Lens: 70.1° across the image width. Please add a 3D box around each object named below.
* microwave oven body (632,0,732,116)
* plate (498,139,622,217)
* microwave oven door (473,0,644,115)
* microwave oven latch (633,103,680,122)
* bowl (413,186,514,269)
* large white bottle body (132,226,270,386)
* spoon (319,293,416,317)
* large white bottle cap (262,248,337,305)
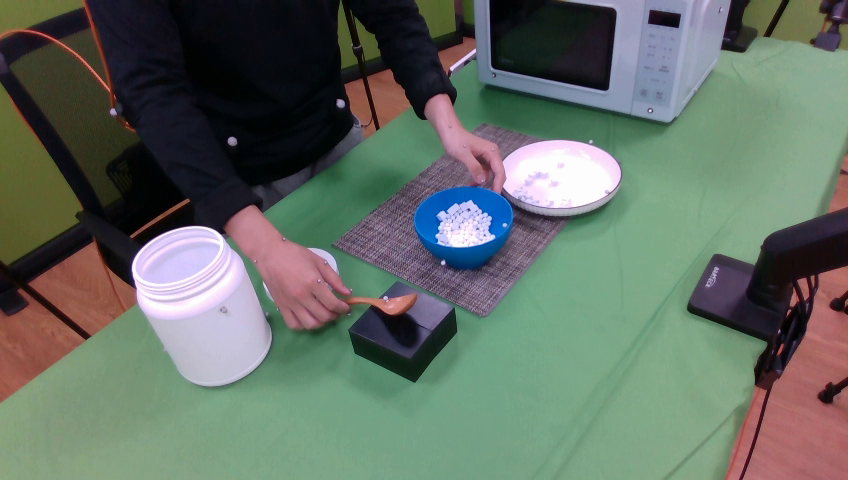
[{"bbox_3d":[0.377,-0.463,1.267,0.438,0.261,0.327,21,49,30],"label":"microwave oven body"},{"bbox_3d":[0.231,-0.103,1.038,0.209,0.038,0.208,-4,41,4],"label":"plate"},{"bbox_3d":[0.257,-0.396,1.199,0.353,0.245,0.039,21,48,29],"label":"microwave oven door"},{"bbox_3d":[0.444,-0.249,1.157,0.078,0.029,0.030,21,49,30],"label":"microwave oven latch"},{"bbox_3d":[0.062,-0.008,0.920,0.151,0.077,0.150,-4,40,4],"label":"bowl"},{"bbox_3d":[-0.286,0.085,0.783,0.130,0.185,0.130,-4,41,4],"label":"large white bottle body"},{"bbox_3d":[-0.082,0.086,0.826,0.192,0.022,0.041,-3,40,41],"label":"spoon"},{"bbox_3d":[-0.193,0.055,0.934,0.115,0.018,0.114,-4,39,4],"label":"large white bottle cap"}]
